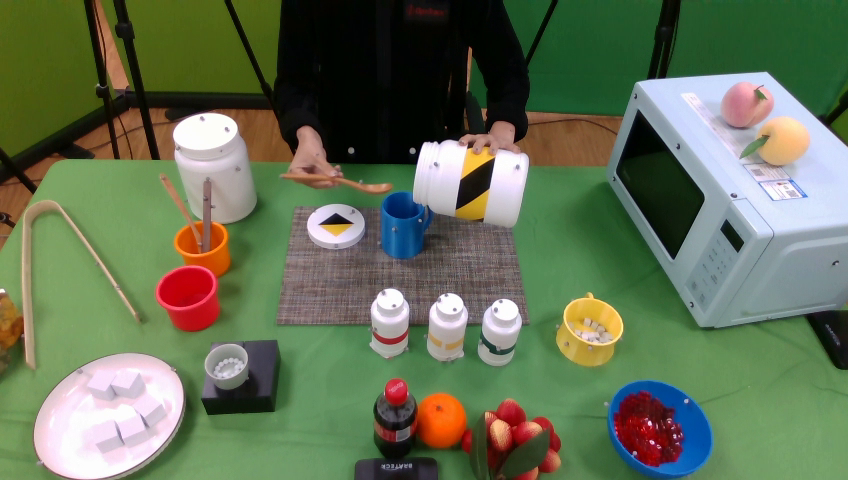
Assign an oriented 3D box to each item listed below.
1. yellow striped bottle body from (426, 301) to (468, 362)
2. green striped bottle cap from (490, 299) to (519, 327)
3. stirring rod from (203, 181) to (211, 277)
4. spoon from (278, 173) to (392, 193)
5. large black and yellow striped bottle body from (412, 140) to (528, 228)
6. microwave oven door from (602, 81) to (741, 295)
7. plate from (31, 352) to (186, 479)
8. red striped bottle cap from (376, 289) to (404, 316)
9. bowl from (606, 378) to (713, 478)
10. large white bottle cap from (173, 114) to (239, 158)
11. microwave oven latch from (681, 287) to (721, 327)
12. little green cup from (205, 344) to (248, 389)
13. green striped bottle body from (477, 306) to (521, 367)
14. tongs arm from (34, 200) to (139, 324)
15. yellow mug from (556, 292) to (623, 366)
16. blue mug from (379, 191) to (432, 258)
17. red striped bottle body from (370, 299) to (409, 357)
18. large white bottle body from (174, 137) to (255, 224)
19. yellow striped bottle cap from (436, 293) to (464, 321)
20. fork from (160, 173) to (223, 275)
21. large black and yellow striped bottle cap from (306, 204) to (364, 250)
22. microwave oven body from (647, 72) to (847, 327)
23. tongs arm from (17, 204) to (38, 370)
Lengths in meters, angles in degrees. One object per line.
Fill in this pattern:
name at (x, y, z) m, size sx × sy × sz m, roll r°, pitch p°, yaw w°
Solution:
yellow striped bottle body at (0.037, 0.143, 0.996) m, size 0.063 × 0.121 × 0.062 m, roll 2°, pitch 46°, yaw -2°
green striped bottle cap at (0.128, 0.115, 0.958) m, size 0.044 × 0.020 × 0.044 m, roll 2°, pitch 48°, yaw -2°
stirring rod at (-0.396, -0.021, 1.107) m, size 0.014 × 0.006 × 0.176 m, roll -1°, pitch 89°, yaw 0°
spoon at (-0.150, -0.102, 1.037) m, size 0.194 × 0.022 × 0.041 m, roll 9°, pitch 22°, yaw -16°
large black and yellow striped bottle body at (0.079, -0.101, 1.050) m, size 0.184 × 0.131 × 0.130 m, roll 11°, pitch 46°, yaw 5°
microwave oven door at (0.456, -0.107, 1.162) m, size 0.039 × 0.245 × 0.353 m, roll -6°, pitch 47°, yaw -11°
plate at (-0.459, 0.262, 0.898) m, size 0.209 × 0.038 × 0.208 m, roll 2°, pitch 46°, yaw -2°
red striped bottle cap at (-0.055, 0.098, 0.959) m, size 0.044 × 0.018 × 0.044 m, roll 0°, pitch 48°, yaw 0°
bowl at (0.340, 0.292, 0.906) m, size 0.151 × 0.077 × 0.150 m, roll 2°, pitch 46°, yaw -2°
large white bottle cap at (-0.403, -0.195, 1.122) m, size 0.115 × 0.018 × 0.114 m, roll 2°, pitch 47°, yaw -2°
microwave oven latch at (0.494, 0.119, 1.087) m, size 0.030 × 0.029 × 0.078 m, roll -6°, pitch 46°, yaw -9°
little green cup at (-0.294, 0.191, 0.909) m, size 0.061 × 0.039 × 0.061 m, roll 1°, pitch 48°, yaw -1°
green striped bottle body at (0.124, 0.151, 0.995) m, size 0.063 × 0.120 × 0.063 m, roll 2°, pitch 46°, yaw -1°
tongs arm at (-0.622, 0.034, 1.105) m, size 0.051 × 0.026 × 0.382 m, roll -32°, pitch 55°, yaw -26°
yellow mug at (0.285, 0.145, 1.051) m, size 0.100 × 0.064 × 0.130 m, roll 7°, pitch 45°, yaw 3°
blue mug at (-0.032, -0.036, 1.167) m, size 0.116 × 0.106 × 0.082 m, roll -27°, pitch 54°, yaw -27°
red striped bottle body at (-0.057, 0.135, 0.996) m, size 0.063 × 0.120 × 0.062 m, roll 2°, pitch 47°, yaw -2°
large white bottle body at (-0.408, -0.136, 1.183) m, size 0.131 × 0.185 × 0.130 m, roll 2°, pitch 46°, yaw -2°
yellow striped bottle cap at (0.041, 0.106, 0.959) m, size 0.044 × 0.019 × 0.044 m, roll -1°, pitch 49°, yaw 1°
fork at (-0.426, -0.030, 1.103) m, size 0.028 × 0.018 × 0.207 m, roll -30°, pitch 99°, yaw -22°
large black and yellow striped bottle cap at (-0.178, -0.028, 1.211) m, size 0.115 × 0.019 × 0.114 m, roll 2°, pitch 47°, yaw -2°
microwave oven body at (0.607, -0.089, 1.164) m, size 0.326 × 0.261 × 0.438 m, roll -7°, pitch 46°, yaw -10°
tongs arm at (-0.698, 0.069, 1.068) m, size 0.028 × 0.028 × 0.385 m, roll -20°, pitch 50°, yaw -13°
